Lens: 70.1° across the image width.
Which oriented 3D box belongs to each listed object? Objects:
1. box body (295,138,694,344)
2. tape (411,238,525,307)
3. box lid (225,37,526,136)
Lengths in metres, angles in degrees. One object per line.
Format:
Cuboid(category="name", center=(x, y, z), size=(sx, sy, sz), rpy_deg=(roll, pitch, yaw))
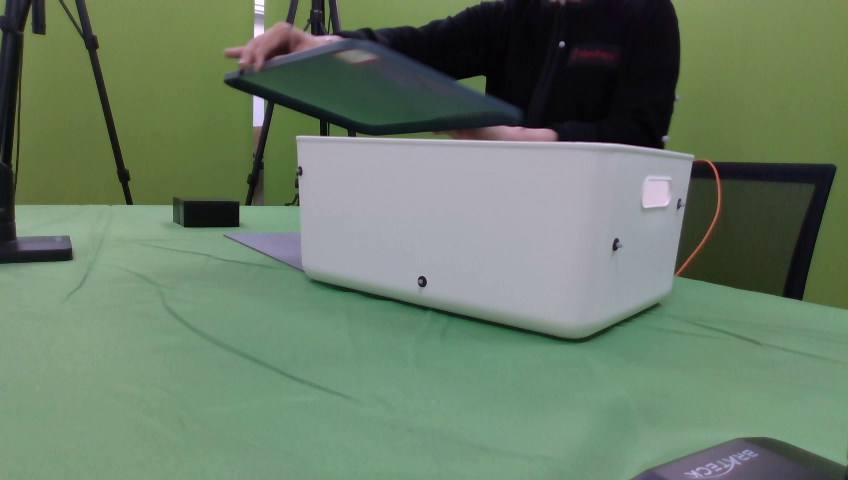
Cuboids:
Cuboid(category="box body", center=(0.065, -0.020, 0.653), size=(0.362, 0.160, 0.255), rpy_deg=(9, 9, 36))
Cuboid(category="tape", center=(0.044, 0.031, 0.628), size=(0.117, 0.052, 0.117), rpy_deg=(3, 8, 0))
Cuboid(category="box lid", center=(-0.077, -0.183, 0.797), size=(0.265, 0.015, 0.369), rpy_deg=(14, -3, -40))
